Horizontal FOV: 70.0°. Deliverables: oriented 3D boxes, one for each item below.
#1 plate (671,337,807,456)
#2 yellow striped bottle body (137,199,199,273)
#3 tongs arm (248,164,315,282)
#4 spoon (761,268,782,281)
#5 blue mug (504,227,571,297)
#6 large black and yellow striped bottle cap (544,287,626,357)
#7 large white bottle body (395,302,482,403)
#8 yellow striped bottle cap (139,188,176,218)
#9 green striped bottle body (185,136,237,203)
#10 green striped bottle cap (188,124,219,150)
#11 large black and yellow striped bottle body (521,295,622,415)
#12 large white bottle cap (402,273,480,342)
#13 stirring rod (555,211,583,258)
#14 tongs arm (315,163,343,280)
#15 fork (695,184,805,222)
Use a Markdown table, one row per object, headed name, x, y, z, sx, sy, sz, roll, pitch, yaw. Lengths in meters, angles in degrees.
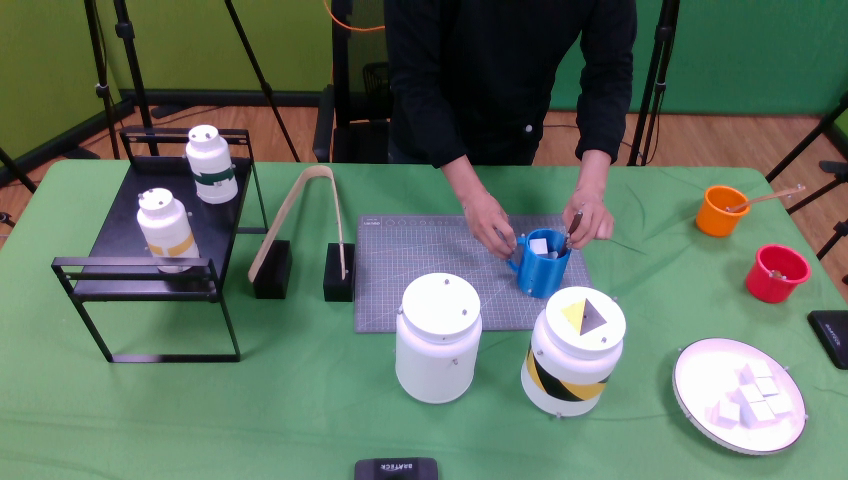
| name | x | y | z | sx | sy | sz | roll | pitch | yaw |
| --- | --- | --- | --- | --- | --- | --- | --- | --- | --- |
| plate | 0.503 | 0.254 | 0.984 | 0.208 | 0.039 | 0.206 | 2 | 46 | -2 |
| yellow striped bottle body | -0.366 | -0.014 | 0.863 | 0.063 | 0.121 | 0.062 | 2 | 46 | -2 |
| tongs arm | -0.269 | -0.048 | 1.166 | 0.028 | 0.028 | 0.385 | -1 | 34 | 7 |
| spoon | 0.638 | 0.060 | 1.105 | 0.041 | 0.021 | 0.194 | 38 | 11 | 24 |
| blue mug | 0.203 | 0.036 | 1.116 | 0.116 | 0.106 | 0.082 | 20 | 48 | 15 |
| large black and yellow striped bottle cap | 0.232 | 0.116 | 0.876 | 0.115 | 0.019 | 0.114 | 2 | 46 | -1 |
| large white bottle body | 0.020 | 0.153 | 0.940 | 0.131 | 0.185 | 0.130 | 2 | 46 | -2 |
| yellow striped bottle cap | -0.363 | -0.050 | 0.826 | 0.044 | 0.019 | 0.044 | 1 | 47 | 0 |
| green striped bottle body | -0.341 | -0.121 | 0.968 | 0.063 | 0.120 | 0.063 | 2 | 46 | -2 |
| green striped bottle cap | -0.339 | -0.158 | 0.931 | 0.044 | 0.020 | 0.044 | 3 | 47 | -3 |
| large black and yellow striped bottle body | 0.228 | 0.173 | 0.938 | 0.131 | 0.185 | 0.130 | 2 | 47 | -2 |
| large white bottle cap | 0.024 | 0.095 | 0.878 | 0.115 | 0.018 | 0.114 | 2 | 47 | -2 |
| stirring rod | 0.244 | 0.013 | 1.064 | 0.014 | 0.177 | 0.006 | -16 | 52 | -24 |
| tongs arm | -0.187 | -0.049 | 1.170 | 0.051 | 0.026 | 0.382 | -5 | 35 | -6 |
| fork | 0.657 | -0.075 | 1.230 | 0.207 | 0.019 | 0.028 | -23 | 32 | 37 |
